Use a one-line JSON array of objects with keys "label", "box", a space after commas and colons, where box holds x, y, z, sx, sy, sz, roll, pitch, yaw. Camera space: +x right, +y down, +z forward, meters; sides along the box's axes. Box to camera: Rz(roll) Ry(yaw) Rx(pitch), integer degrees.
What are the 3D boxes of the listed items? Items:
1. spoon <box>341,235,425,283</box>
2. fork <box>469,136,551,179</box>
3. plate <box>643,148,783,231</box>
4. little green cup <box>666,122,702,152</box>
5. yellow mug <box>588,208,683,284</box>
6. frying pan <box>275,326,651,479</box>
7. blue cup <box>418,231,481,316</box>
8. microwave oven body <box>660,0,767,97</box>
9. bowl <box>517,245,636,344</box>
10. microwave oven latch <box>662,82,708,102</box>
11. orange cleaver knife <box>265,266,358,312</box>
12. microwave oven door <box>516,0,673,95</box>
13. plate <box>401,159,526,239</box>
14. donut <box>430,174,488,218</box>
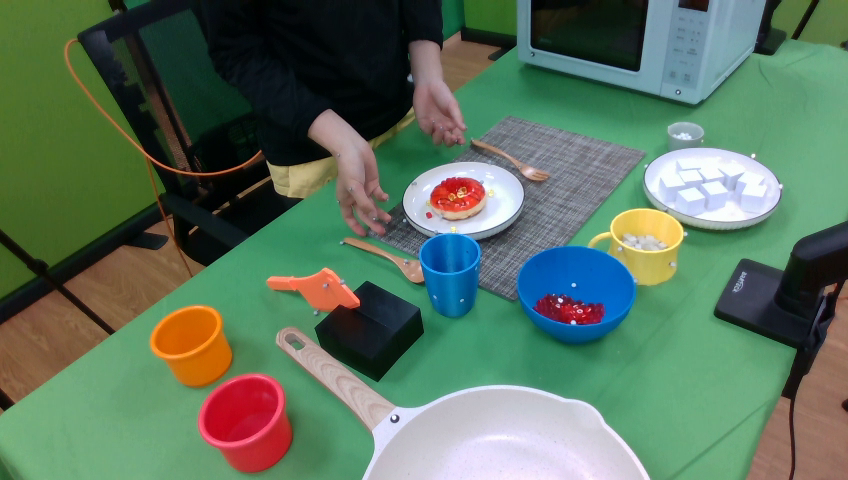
[{"label": "spoon", "box": [-0.061, 0.022, 0.953, 0.192, 0.022, 0.041, 24, 70, 31]}, {"label": "fork", "box": [0.154, -0.156, 1.126, 0.028, 0.019, 0.205, -38, 50, -18]}, {"label": "plate", "box": [0.464, -0.080, 0.986, 0.207, 0.039, 0.206, -4, 41, 4]}, {"label": "little green cup", "box": [0.471, -0.184, 1.102, 0.061, 0.039, 0.061, -5, 41, 5]}, {"label": "yellow mug", "box": [0.305, 0.009, 0.884, 0.131, 0.064, 0.099, -4, 40, 5]}, {"label": "frying pan", "box": [0.003, 0.229, 0.641, 0.484, 0.103, 0.308, 34, 54, 28]}, {"label": "blue cup", "box": [0.040, 0.053, 0.843, 0.092, 0.100, 0.092, -4, 43, 4]}, {"label": "microwave oven body", "box": [0.473, -0.516, 1.313, 0.438, 0.261, 0.327, 26, 51, 34]}, {"label": "bowl", "box": [0.199, 0.084, 0.802, 0.151, 0.077, 0.150, -4, 40, 4]}, {"label": "microwave oven latch", "box": [0.517, -0.298, 1.202, 0.078, 0.029, 0.030, 26, 51, 34]}, {"label": "orange cleaver knife", "box": [-0.165, 0.073, 0.864, 0.210, 0.077, 0.012, -6, 31, 50]}, {"label": "microwave oven door", "box": [0.344, -0.458, 1.256, 0.353, 0.245, 0.039, 26, 51, 33]}, {"label": "plate", "box": [0.067, -0.065, 1.019, 0.209, 0.038, 0.208, -4, 40, 4]}, {"label": "donut", "box": [0.058, -0.076, 1.015, 0.099, 0.048, 0.098, -6, 38, 5]}]
